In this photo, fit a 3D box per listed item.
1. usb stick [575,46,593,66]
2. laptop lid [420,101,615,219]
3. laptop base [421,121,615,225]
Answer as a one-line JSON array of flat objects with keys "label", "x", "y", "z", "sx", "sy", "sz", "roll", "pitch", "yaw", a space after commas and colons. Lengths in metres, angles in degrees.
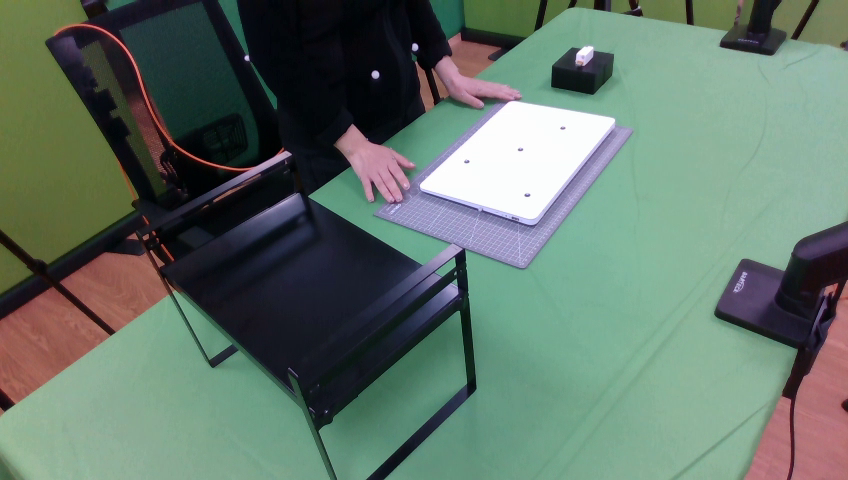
[{"label": "usb stick", "x": 0.343, "y": -0.394, "z": 1.302, "sx": 0.021, "sy": 0.027, "sz": 0.059, "roll": 22, "pitch": 51, "yaw": 28}, {"label": "laptop lid", "x": 0.180, "y": -0.166, "z": 1.126, "sx": 0.240, "sy": 0.013, "sz": 0.357, "roll": 20, "pitch": 47, "yaw": 31}, {"label": "laptop base", "x": 0.183, "y": -0.157, "z": 1.132, "sx": 0.234, "sy": 0.023, "sz": 0.355, "roll": 18, "pitch": 46, "yaw": 31}]
